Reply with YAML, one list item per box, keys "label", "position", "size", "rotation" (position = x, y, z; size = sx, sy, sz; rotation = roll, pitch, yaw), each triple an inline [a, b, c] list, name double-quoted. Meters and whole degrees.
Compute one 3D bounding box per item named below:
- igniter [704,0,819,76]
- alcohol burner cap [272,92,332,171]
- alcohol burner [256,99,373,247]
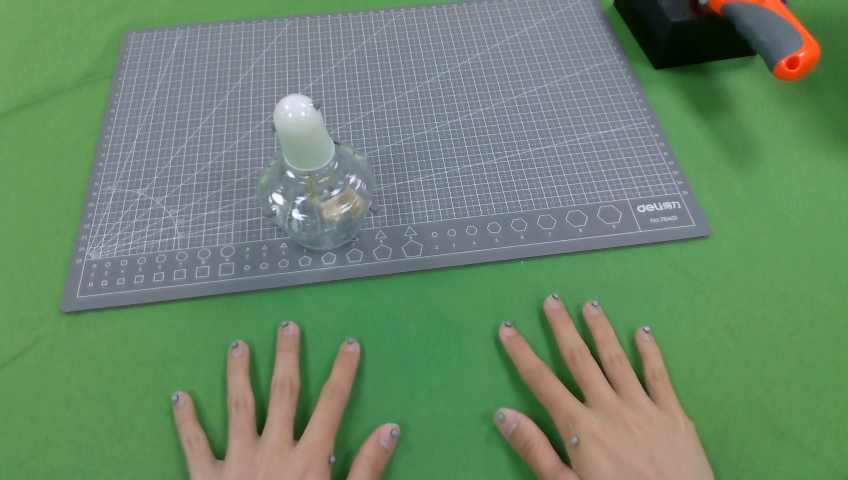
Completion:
- label: "igniter"
  position: [0.249, -0.231, 0.516]
  size: [0.057, 0.025, 0.273]
  rotation: [-11, 54, -4]
- label: "alcohol burner cap"
  position: [-0.075, -0.068, 0.365]
  size: [0.034, 0.048, 0.033]
  rotation: [0, 59, 1]
- label: "alcohol burner"
  position: [-0.074, -0.048, 0.394]
  size: [0.078, 0.120, 0.077]
  rotation: [0, 58, 1]
